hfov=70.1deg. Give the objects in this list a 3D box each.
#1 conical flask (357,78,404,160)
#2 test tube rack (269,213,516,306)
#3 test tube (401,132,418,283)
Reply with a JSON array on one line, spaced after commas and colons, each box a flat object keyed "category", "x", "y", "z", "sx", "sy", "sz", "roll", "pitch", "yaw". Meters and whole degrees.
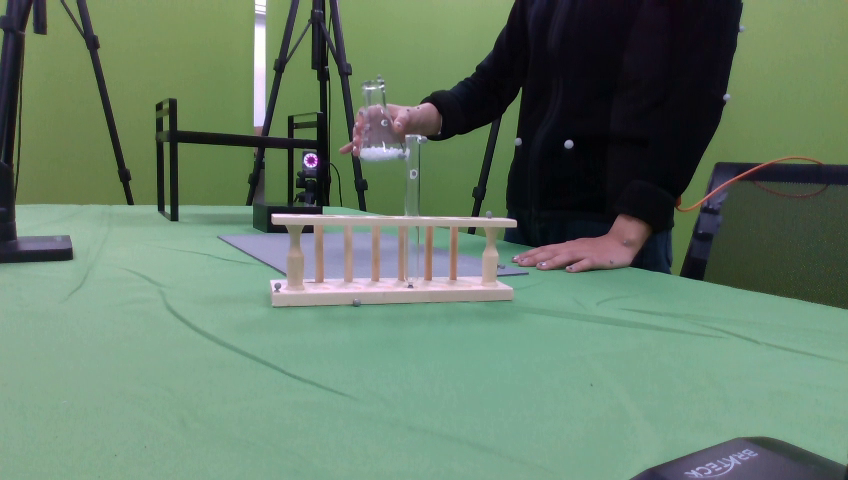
[{"category": "conical flask", "x": -0.074, "y": -0.188, "z": 0.945, "sx": 0.075, "sy": 0.122, "sz": 0.075, "roll": -6, "pitch": 10, "yaw": 1}, {"category": "test tube rack", "x": -0.032, "y": 0.015, "z": 0.617, "sx": 0.243, "sy": 0.085, "sz": 0.066, "roll": 0, "pitch": 7, "yaw": -17}, {"category": "test tube", "x": -0.014, "y": -0.030, "z": 0.596, "sx": 0.017, "sy": 0.150, "sz": 0.017, "roll": 1, "pitch": 11, "yaw": 0}]
